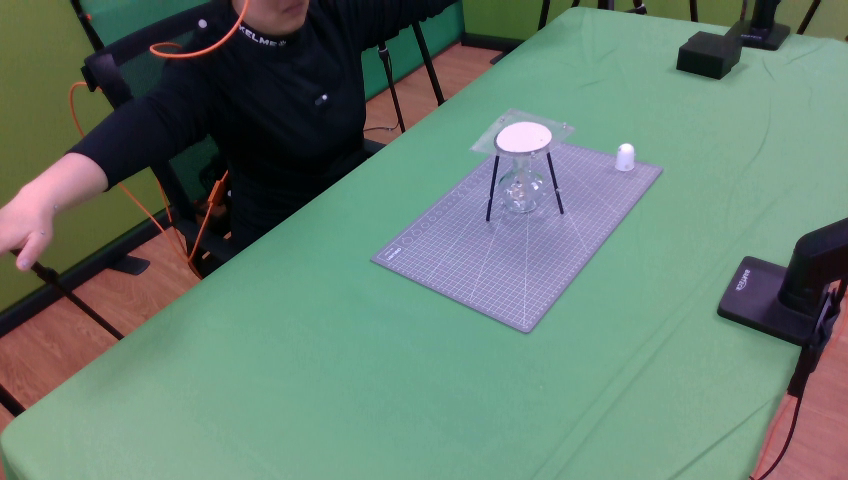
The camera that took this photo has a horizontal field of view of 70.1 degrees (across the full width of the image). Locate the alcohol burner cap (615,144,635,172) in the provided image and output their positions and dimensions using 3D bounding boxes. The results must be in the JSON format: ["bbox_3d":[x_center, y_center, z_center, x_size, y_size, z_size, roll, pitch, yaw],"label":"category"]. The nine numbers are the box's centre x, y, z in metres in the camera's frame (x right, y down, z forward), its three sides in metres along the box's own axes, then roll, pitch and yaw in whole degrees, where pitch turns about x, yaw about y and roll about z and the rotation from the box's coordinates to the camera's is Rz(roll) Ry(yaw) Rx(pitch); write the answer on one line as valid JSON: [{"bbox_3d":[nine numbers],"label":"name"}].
[{"bbox_3d":[0.357,-0.147,1.069,0.034,0.048,0.033,-7,40,6],"label":"alcohol burner cap"}]

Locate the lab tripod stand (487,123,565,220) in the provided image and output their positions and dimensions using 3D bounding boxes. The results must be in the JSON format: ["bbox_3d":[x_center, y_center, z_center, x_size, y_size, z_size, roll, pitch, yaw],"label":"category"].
[{"bbox_3d":[0.162,-0.110,0.992,0.148,0.132,0.147,-5,42,5],"label":"lab tripod stand"}]

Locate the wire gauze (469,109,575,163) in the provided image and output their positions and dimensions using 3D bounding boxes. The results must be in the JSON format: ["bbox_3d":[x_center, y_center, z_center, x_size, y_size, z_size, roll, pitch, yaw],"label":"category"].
[{"bbox_3d":[0.154,-0.163,0.950,0.120,0.011,0.125,22,50,32],"label":"wire gauze"}]

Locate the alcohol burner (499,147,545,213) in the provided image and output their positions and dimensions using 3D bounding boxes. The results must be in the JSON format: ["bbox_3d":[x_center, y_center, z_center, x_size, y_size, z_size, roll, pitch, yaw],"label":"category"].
[{"bbox_3d":[0.161,-0.104,1.001,0.078,0.120,0.077,-6,42,6],"label":"alcohol burner"}]
